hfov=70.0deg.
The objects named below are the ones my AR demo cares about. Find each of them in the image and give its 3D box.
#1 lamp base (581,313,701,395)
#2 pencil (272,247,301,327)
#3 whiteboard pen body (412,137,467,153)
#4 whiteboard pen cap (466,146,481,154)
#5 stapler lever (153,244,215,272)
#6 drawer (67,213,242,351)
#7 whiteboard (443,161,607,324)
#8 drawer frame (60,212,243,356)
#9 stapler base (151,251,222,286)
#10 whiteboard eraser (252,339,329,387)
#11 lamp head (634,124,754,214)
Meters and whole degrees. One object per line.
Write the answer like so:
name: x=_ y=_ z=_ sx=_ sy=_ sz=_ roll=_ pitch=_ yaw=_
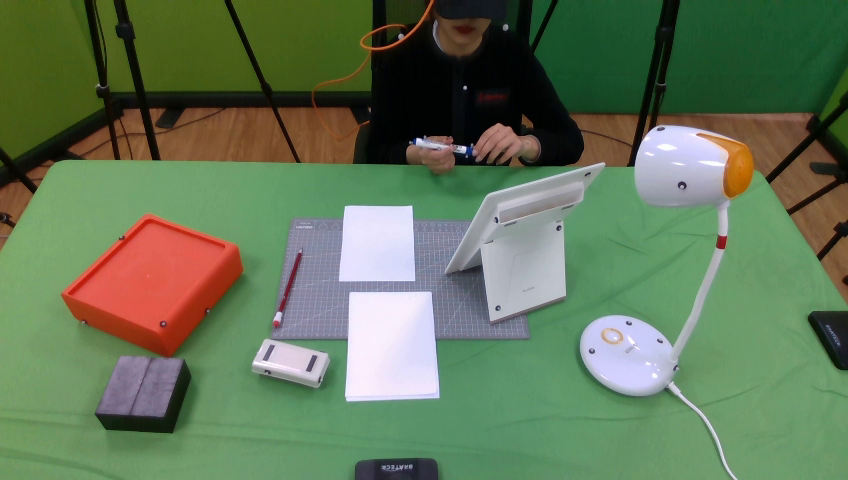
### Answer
lamp base: x=0.361 y=0.144 z=0.973 sx=0.178 sy=0.181 sz=0.160 roll=34 pitch=53 yaw=23
pencil: x=-0.248 y=0.081 z=1.104 sx=0.012 sy=0.012 sz=0.193 roll=6 pitch=44 yaw=1
whiteboard pen body: x=0.044 y=-0.199 z=1.279 sx=0.141 sy=0.017 sz=0.017 roll=9 pitch=46 yaw=-8
whiteboard pen cap: x=0.103 y=-0.191 z=1.287 sx=0.033 sy=0.018 sz=0.018 roll=0 pitch=46 yaw=-8
stapler lever: x=-0.430 y=0.025 z=1.088 sx=0.118 sy=0.040 sz=0.027 roll=16 pitch=34 yaw=13
drawer: x=-0.461 y=0.068 z=1.057 sx=0.194 sy=0.073 sz=0.211 roll=19 pitch=48 yaw=13
whiteboard: x=0.185 y=0.026 z=1.028 sx=0.217 sy=0.306 sz=0.143 roll=-15 pitch=68 yaw=-18
drawer frame: x=-0.462 y=0.070 z=1.053 sx=0.201 sy=0.083 sz=0.213 roll=18 pitch=48 yaw=12
stapler base: x=-0.432 y=0.047 z=1.103 sx=0.130 sy=0.024 sz=0.041 roll=17 pitch=34 yaw=12
whiteboard eraser: x=-0.215 y=0.199 z=0.976 sx=0.112 sy=0.042 sz=0.055 roll=12 pitch=45 yaw=7
lamp head: x=0.351 y=-0.089 z=0.775 sx=0.112 sy=0.113 sz=0.122 roll=-30 pitch=30 yaw=-28
